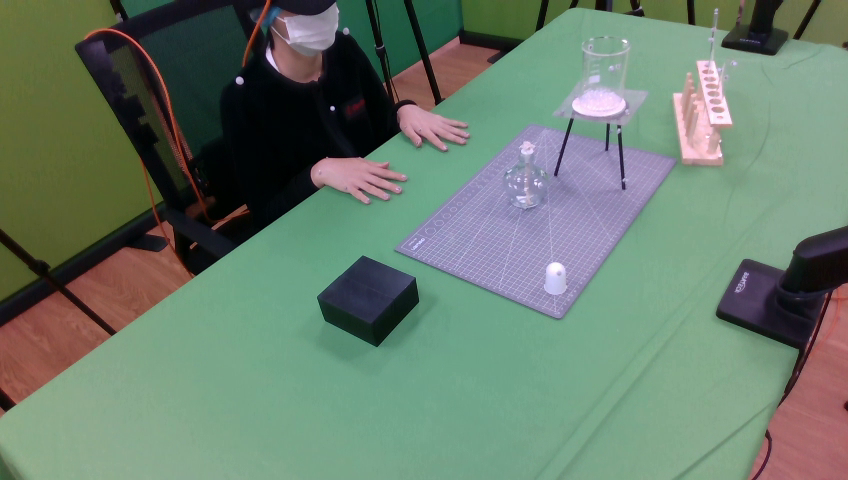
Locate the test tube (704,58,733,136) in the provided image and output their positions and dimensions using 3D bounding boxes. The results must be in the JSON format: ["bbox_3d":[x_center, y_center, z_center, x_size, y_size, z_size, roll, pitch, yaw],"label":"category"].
[{"bbox_3d":[0.516,-0.247,1.062,0.017,0.151,0.017,-3,43,4],"label":"test tube"}]

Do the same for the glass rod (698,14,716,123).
[{"bbox_3d":[0.531,-0.320,1.136,0.008,0.200,0.008,3,12,0],"label":"glass rod"}]

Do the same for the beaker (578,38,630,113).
[{"bbox_3d":[0.290,-0.265,0.976,0.084,0.101,0.073,-18,41,-14],"label":"beaker"}]

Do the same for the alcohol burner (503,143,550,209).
[{"bbox_3d":[0.171,-0.111,1.007,0.078,0.119,0.077,-3,41,3],"label":"alcohol burner"}]

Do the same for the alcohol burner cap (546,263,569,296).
[{"bbox_3d":[0.191,0.053,0.862,0.034,0.048,0.033,-5,40,4],"label":"alcohol burner cap"}]

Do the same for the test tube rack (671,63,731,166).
[{"bbox_3d":[0.513,-0.240,1.132,0.066,0.085,0.242,4,41,14],"label":"test tube rack"}]

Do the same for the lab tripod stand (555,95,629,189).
[{"bbox_3d":[0.300,-0.174,1.045,0.148,0.132,0.147,-5,38,5],"label":"lab tripod stand"}]

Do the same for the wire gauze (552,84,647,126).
[{"bbox_3d":[0.293,-0.224,1.004,0.120,0.011,0.125,19,43,26],"label":"wire gauze"}]
